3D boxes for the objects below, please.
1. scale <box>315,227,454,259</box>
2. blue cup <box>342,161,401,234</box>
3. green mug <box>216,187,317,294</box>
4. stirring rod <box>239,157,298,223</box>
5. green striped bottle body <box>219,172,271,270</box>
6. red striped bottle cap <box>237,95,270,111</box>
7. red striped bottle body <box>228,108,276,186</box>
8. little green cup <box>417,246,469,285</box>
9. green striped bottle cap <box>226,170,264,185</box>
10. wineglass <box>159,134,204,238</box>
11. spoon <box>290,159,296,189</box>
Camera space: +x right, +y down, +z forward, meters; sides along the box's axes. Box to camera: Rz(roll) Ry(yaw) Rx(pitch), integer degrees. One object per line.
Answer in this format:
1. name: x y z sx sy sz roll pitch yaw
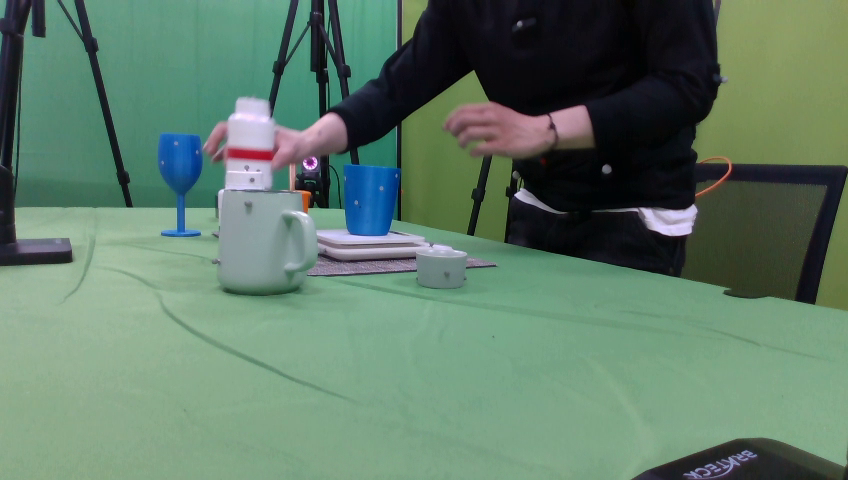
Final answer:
1. scale: -0.067 0.001 0.906 0.202 0.031 0.148 -2 8 -31
2. blue cup: -0.079 -0.061 0.882 0.093 0.100 0.092 4 5 0
3. green mug: -0.157 0.000 0.629 0.124 0.105 0.093 7 9 37
4. stirring rod: -0.309 -0.098 1.209 0.006 0.177 0.014 -39 29 -4
5. green striped bottle body: -0.223 -0.025 0.755 0.063 0.119 0.063 1 7 0
6. red striped bottle cap: -0.236 -0.190 0.841 0.044 0.017 0.044 6 7 0
7. red striped bottle body: -0.241 -0.137 0.848 0.063 0.119 0.063 5 8 0
8. little green cup: 0.021 0.029 0.701 0.061 0.038 0.061 1 6 0
9. green striped bottle cap: -0.222 -0.076 0.748 0.044 0.020 0.044 0 7 0
10. wineglass: -0.415 -0.093 1.039 0.074 0.172 0.073 2 8 0
11. spoon: -0.273 -0.102 1.252 0.042 0.193 0.021 7 -38 -17
